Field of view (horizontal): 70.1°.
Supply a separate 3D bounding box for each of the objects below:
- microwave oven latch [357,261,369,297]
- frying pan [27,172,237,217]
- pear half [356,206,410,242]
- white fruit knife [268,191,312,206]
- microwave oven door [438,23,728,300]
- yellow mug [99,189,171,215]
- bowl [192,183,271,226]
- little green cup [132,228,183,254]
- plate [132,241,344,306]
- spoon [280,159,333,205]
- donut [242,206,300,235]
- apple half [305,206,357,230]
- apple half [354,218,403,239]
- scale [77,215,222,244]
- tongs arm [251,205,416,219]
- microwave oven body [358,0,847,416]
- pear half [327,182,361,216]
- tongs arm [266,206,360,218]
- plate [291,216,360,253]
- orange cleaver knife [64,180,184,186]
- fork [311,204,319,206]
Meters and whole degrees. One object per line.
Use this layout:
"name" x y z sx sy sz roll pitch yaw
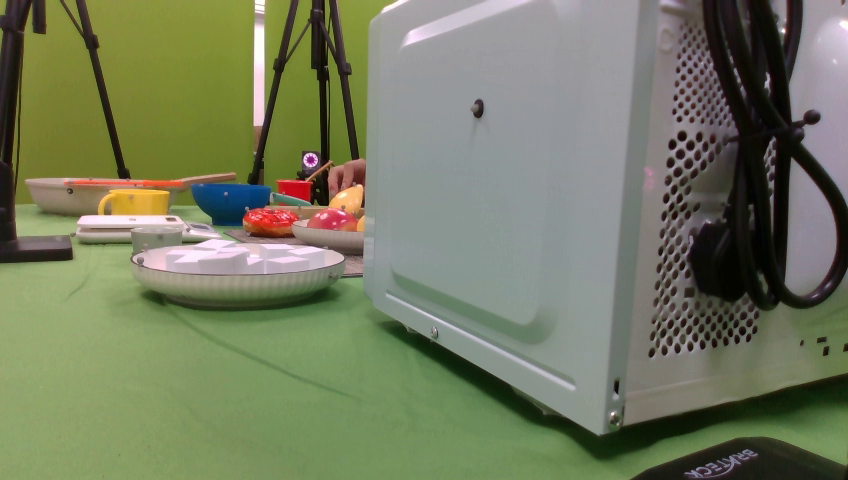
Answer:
"microwave oven latch" -0.019 0.033 0.531 0.079 0.029 0.030 -1 7 -27
"frying pan" -0.624 -0.118 1.387 0.305 0.102 0.490 8 17 32
"pear half" -0.053 -0.021 0.914 0.076 0.056 0.110 3 -3 29
"white fruit knife" -0.364 -0.105 1.464 0.208 0.027 0.016 15 -1 -34
"microwave oven door" 0.181 -0.072 0.621 0.358 0.243 0.039 -2 8 -29
"yellow mug" -0.518 -0.055 1.080 0.099 0.064 0.131 7 9 26
"bowl" -0.382 -0.071 1.202 0.151 0.077 0.151 3 7 0
"little green cup" -0.342 0.006 0.779 0.061 0.038 0.061 2 8 0
"plate" -0.187 0.033 0.625 0.208 0.039 0.207 2 8 0
"spoon" -0.317 -0.159 1.640 0.194 0.022 0.041 -49 32 -20
"donut" -0.262 -0.032 1.039 0.099 0.048 0.099 4 10 0
"apple half" -0.137 -0.024 0.915 0.081 0.053 0.074 0 10 -39
"apple half" -0.072 -0.019 0.975 0.081 0.033 0.081 -3 2 0
"scale" -0.434 -0.019 0.963 0.202 0.031 0.148 -1 9 -27
"tongs arm" -0.211 -0.067 1.440 0.389 0.027 0.028 0 -1 -17
"microwave oven body" 0.211 -0.047 0.474 0.444 0.260 0.324 -1 7 -28
"pear half" -0.136 -0.062 0.996 0.070 0.088 0.031 21 -8 45
"tongs arm" -0.173 -0.061 1.362 0.387 0.026 0.050 -1 3 -31
"plate" -0.102 -0.009 0.945 0.209 0.038 0.209 2 8 0
"orange cleaver knife" -0.595 -0.114 1.212 0.212 0.012 0.077 -4 6 -41
"fork" -0.356 -0.105 1.526 0.208 0.018 0.028 16 -5 -41
